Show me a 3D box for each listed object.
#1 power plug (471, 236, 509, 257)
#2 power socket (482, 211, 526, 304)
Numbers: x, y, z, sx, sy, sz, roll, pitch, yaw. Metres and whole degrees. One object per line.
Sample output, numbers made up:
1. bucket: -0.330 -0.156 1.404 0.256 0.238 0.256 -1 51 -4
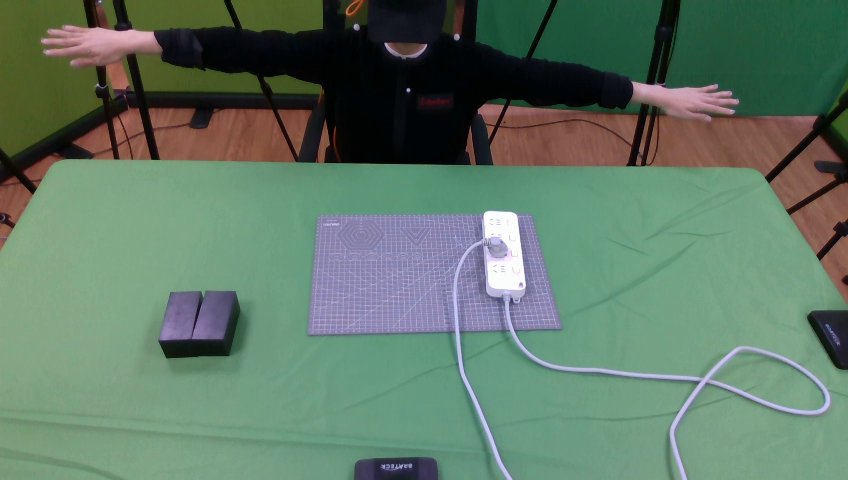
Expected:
1. power plug: 0.125 0.013 1.149 0.072 0.053 0.035 11 46 5
2. power socket: 0.153 0.024 1.174 0.072 0.033 0.225 2 46 0
